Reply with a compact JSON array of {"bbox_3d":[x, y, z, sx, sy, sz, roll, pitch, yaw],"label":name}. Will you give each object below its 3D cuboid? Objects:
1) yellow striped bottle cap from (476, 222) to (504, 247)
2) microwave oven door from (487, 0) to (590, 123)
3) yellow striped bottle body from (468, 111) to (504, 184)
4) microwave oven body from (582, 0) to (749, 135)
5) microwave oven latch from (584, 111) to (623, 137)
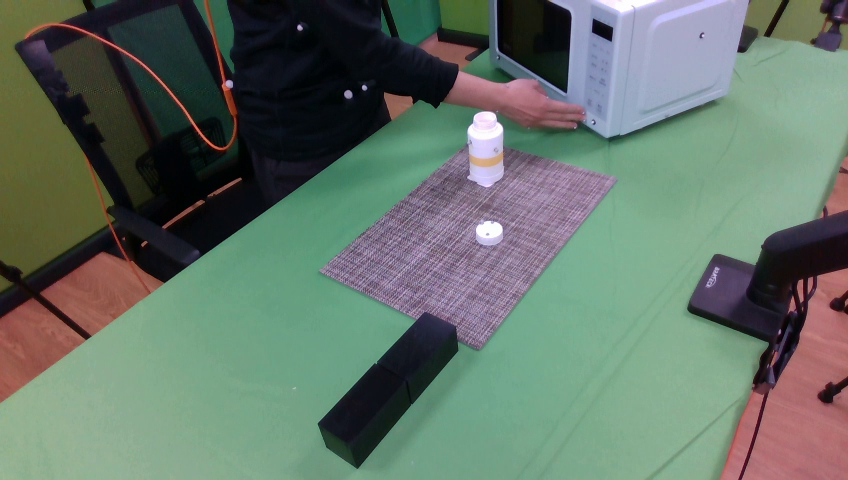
[{"bbox_3d":[0.105,-0.010,0.966,0.044,0.019,0.044,-4,39,3],"label":"yellow striped bottle cap"},{"bbox_3d":[0.231,-0.419,1.230,0.039,0.245,0.352,-22,43,-16],"label":"microwave oven door"},{"bbox_3d":[0.109,-0.164,1.064,0.063,0.121,0.062,-4,41,4],"label":"yellow striped bottle body"},{"bbox_3d":[0.382,-0.444,1.246,0.327,0.261,0.437,-22,42,-16],"label":"microwave oven body"},{"bbox_3d":[0.337,-0.222,1.142,0.030,0.029,0.078,-21,42,-14],"label":"microwave oven latch"}]
